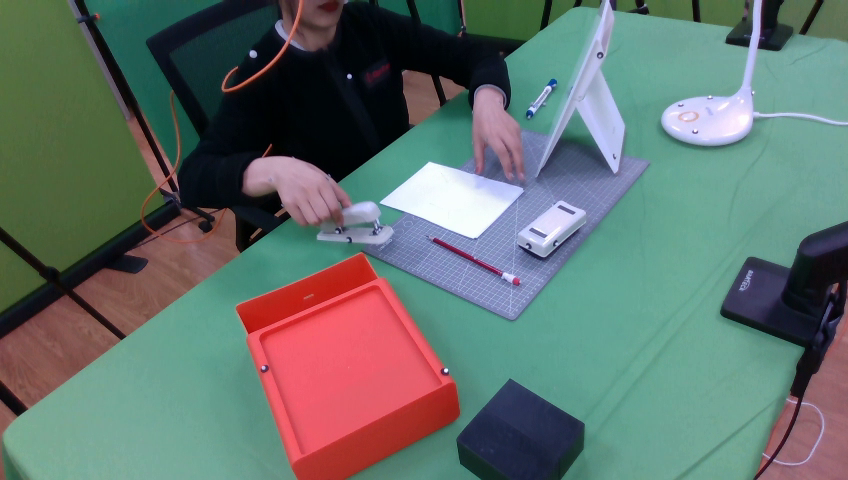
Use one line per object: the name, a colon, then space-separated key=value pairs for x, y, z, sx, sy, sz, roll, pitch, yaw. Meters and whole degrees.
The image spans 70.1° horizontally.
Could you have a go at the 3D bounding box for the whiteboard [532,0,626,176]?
whiteboard: x=0.321 y=-0.258 z=1.050 sx=0.144 sy=0.306 sz=0.217 roll=22 pitch=45 yaw=5

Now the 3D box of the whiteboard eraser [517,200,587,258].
whiteboard eraser: x=0.201 y=-0.016 z=0.943 sx=0.113 sy=0.042 sz=0.055 roll=-37 pitch=46 yaw=-29

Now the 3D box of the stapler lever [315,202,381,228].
stapler lever: x=-0.119 y=-0.038 z=0.933 sx=0.117 sy=0.040 sz=0.027 roll=2 pitch=34 yaw=29

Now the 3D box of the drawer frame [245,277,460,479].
drawer frame: x=-0.093 y=0.167 z=0.755 sx=0.202 sy=0.083 sz=0.211 roll=-23 pitch=43 yaw=-17

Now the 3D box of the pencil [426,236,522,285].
pencil: x=0.072 y=0.028 z=0.941 sx=0.192 sy=0.012 sz=0.012 roll=26 pitch=52 yaw=37

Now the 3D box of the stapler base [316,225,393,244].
stapler base: x=-0.111 y=-0.017 z=0.946 sx=0.130 sy=0.024 sz=0.041 roll=3 pitch=34 yaw=29

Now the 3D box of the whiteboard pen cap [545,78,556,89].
whiteboard pen cap: x=0.280 y=-0.344 z=1.335 sx=0.018 sy=0.018 sz=0.033 roll=15 pitch=45 yaw=26

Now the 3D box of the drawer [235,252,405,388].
drawer: x=-0.125 y=0.132 z=0.804 sx=0.195 sy=0.073 sz=0.210 roll=-23 pitch=42 yaw=-17

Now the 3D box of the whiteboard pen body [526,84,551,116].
whiteboard pen body: x=0.251 y=-0.305 z=1.298 sx=0.017 sy=0.017 sz=0.141 roll=15 pitch=45 yaw=26

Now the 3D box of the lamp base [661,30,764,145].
lamp base: x=0.535 y=-0.287 z=1.096 sx=0.179 sy=0.181 sz=0.159 roll=-10 pitch=40 yaw=-4
